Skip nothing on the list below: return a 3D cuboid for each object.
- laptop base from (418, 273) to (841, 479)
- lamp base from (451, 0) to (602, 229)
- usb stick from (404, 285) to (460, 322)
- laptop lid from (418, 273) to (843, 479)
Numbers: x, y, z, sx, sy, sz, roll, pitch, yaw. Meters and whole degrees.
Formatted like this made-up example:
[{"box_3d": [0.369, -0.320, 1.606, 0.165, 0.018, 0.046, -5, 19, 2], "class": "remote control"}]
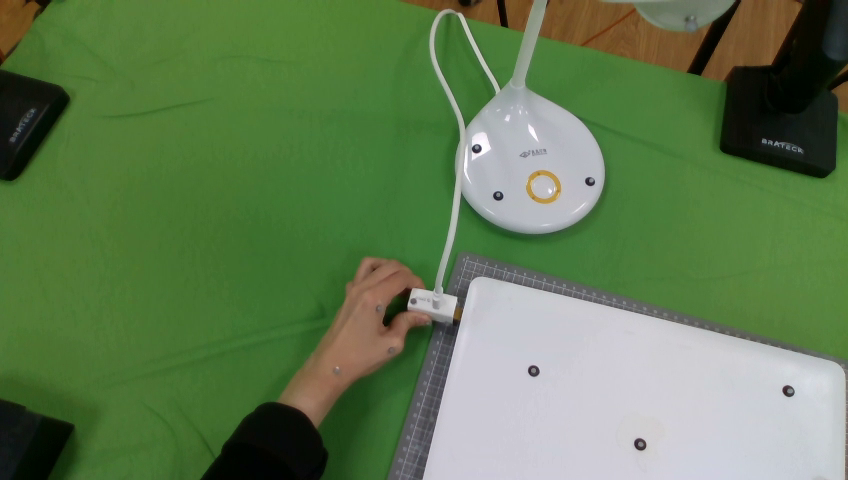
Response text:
[{"box_3d": [0.185, 0.177, 0.538, 0.354, 0.023, 0.234, 13, 71, 4], "class": "laptop base"}, {"box_3d": [0.105, -0.126, 0.580, 0.161, 0.181, 0.177, -21, 65, -10], "class": "lamp base"}, {"box_3d": [0.011, 0.061, 0.571, 0.059, 0.027, 0.021, 13, 60, 1], "class": "usb stick"}, {"box_3d": [0.184, 0.175, 0.528, 0.356, 0.013, 0.240, 15, 70, 5], "class": "laptop lid"}]
